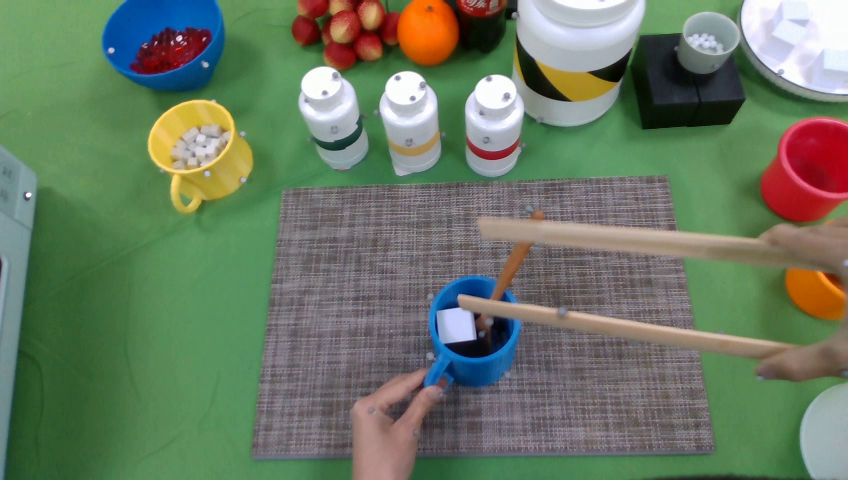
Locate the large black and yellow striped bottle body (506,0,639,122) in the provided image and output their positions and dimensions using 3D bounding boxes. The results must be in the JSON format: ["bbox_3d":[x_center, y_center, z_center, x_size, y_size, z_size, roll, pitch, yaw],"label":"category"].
[{"bbox_3d":[0.161,-0.235,0.675,0.131,0.185,0.130,-1,66,4],"label":"large black and yellow striped bottle body"}]

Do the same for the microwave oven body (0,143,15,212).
[{"bbox_3d":[-0.604,0.087,0.544,0.326,0.262,0.438,-10,67,-1],"label":"microwave oven body"}]

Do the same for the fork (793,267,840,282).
[{"bbox_3d":[0.432,0.043,0.555,0.028,0.019,0.205,-38,25,-11],"label":"fork"}]

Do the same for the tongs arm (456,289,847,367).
[{"bbox_3d":[0.208,0.047,0.370,0.383,0.027,0.050,8,60,21],"label":"tongs arm"}]

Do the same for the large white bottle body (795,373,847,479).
[{"bbox_3d":[0.407,0.157,0.487,0.130,0.186,0.129,-1,66,4],"label":"large white bottle body"}]

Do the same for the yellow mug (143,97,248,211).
[{"bbox_3d":[-0.271,-0.096,0.709,0.100,0.064,0.130,8,68,6],"label":"yellow mug"}]

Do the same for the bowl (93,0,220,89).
[{"bbox_3d":[-0.325,-0.248,0.772,0.151,0.077,0.150,-1,67,3],"label":"bowl"}]

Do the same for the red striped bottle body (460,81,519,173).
[{"bbox_3d":[0.073,-0.130,0.671,0.063,0.120,0.062,-2,65,6],"label":"red striped bottle body"}]

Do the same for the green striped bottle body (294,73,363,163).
[{"bbox_3d":[-0.109,-0.144,0.690,0.063,0.120,0.062,-1,66,3],"label":"green striped bottle body"}]

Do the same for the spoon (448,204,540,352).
[{"bbox_3d":[0.064,0.049,0.551,0.041,0.195,0.021,38,40,23],"label":"spoon"}]

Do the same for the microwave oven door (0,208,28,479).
[{"bbox_3d":[-0.454,0.097,0.523,0.039,0.245,0.352,-11,66,0],"label":"microwave oven door"}]

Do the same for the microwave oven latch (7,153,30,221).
[{"bbox_3d":[-0.481,-0.060,0.703,0.030,0.030,0.078,-9,67,0],"label":"microwave oven latch"}]

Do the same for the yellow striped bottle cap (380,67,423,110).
[{"bbox_3d":[-0.024,-0.159,0.633,0.044,0.019,0.044,-1,68,3],"label":"yellow striped bottle cap"}]

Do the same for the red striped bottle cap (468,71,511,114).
[{"bbox_3d":[0.068,-0.152,0.623,0.044,0.018,0.044,0,65,0],"label":"red striped bottle cap"}]

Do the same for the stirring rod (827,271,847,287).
[{"bbox_3d":[0.402,0.043,0.565,0.014,0.006,0.175,1,23,1],"label":"stirring rod"}]

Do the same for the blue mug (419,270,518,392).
[{"bbox_3d":[0.035,0.098,0.579,0.082,0.106,0.116,36,74,18],"label":"blue mug"}]

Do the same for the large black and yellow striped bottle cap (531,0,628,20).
[{"bbox_3d":[0.154,-0.267,0.598,0.115,0.019,0.114,-2,65,4],"label":"large black and yellow striped bottle cap"}]

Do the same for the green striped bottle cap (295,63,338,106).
[{"bbox_3d":[-0.114,-0.165,0.642,0.044,0.020,0.044,-1,66,2],"label":"green striped bottle cap"}]

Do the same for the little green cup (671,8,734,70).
[{"bbox_3d":[0.312,-0.225,0.684,0.061,0.039,0.061,-1,64,1],"label":"little green cup"}]

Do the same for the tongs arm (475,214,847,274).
[{"bbox_3d":[0.218,0.015,0.387,0.385,0.028,0.028,8,57,21],"label":"tongs arm"}]

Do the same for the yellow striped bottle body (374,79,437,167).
[{"bbox_3d":[-0.020,-0.138,0.681,0.063,0.121,0.062,-2,66,4],"label":"yellow striped bottle body"}]

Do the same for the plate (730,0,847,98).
[{"bbox_3d":[0.479,-0.257,0.742,0.209,0.038,0.207,-1,67,3],"label":"plate"}]
